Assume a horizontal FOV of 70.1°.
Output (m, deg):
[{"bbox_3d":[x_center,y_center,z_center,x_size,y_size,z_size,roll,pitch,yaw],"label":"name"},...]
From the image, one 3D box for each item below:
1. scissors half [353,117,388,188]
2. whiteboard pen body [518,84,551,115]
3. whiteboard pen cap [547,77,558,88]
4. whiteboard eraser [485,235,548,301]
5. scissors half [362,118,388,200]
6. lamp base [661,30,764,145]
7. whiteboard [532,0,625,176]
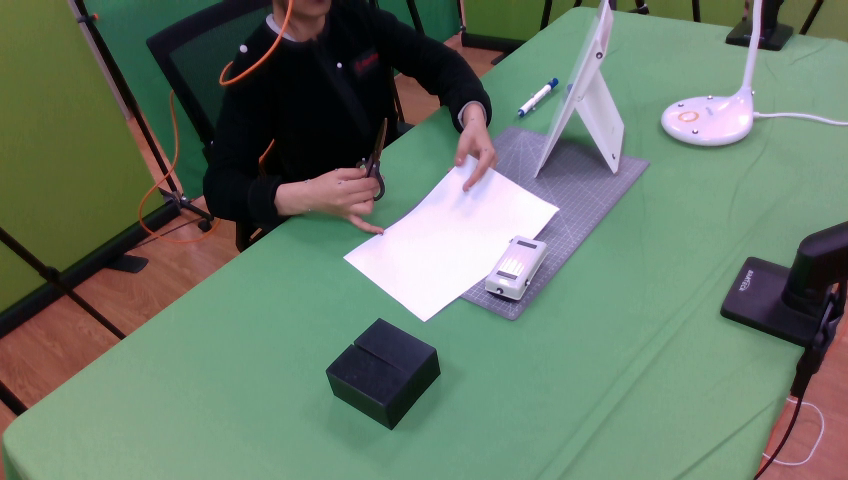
[{"bbox_3d":[-0.086,-0.142,0.984,0.013,0.175,0.040,-26,75,-34],"label":"scissors half"},{"bbox_3d":[0.242,-0.306,1.290,0.017,0.017,0.141,24,52,33],"label":"whiteboard pen body"},{"bbox_3d":[0.279,-0.341,1.321,0.018,0.018,0.033,22,52,31],"label":"whiteboard pen cap"},{"bbox_3d":[0.137,0.042,0.887,0.055,0.042,0.113,15,46,27],"label":"whiteboard eraser"},{"bbox_3d":[-0.074,-0.128,0.979,0.040,0.175,0.013,41,51,22],"label":"scissors half"},{"bbox_3d":[0.535,-0.287,1.096,0.179,0.181,0.159,-10,40,-4],"label":"lamp base"},{"bbox_3d":[0.320,-0.259,1.050,0.144,0.306,0.217,21,45,5],"label":"whiteboard"}]
